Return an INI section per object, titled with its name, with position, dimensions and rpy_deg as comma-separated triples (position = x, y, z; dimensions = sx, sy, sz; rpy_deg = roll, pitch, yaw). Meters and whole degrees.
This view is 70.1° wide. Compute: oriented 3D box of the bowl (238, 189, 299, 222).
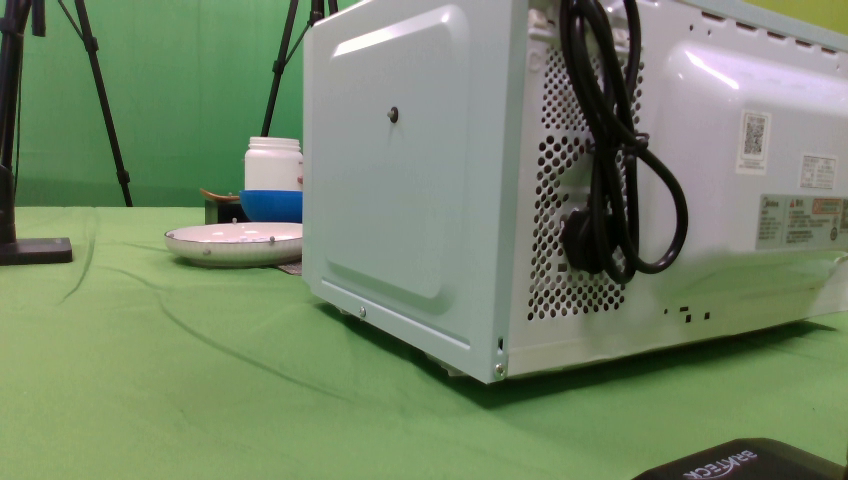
[bowl]
position = -0.245, -0.046, 1.053
dimensions = 0.151, 0.077, 0.151
rpy_deg = 3, 8, 0

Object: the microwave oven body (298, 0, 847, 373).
[microwave oven body]
position = 0.151, -0.055, 0.542
dimensions = 0.444, 0.260, 0.324
rpy_deg = -2, 7, -33

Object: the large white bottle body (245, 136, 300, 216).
[large white bottle body]
position = -0.345, -0.143, 1.394
dimensions = 0.131, 0.184, 0.130
rpy_deg = 2, 7, 0

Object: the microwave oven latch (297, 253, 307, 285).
[microwave oven latch]
position = -0.082, 0.027, 0.582
dimensions = 0.079, 0.029, 0.030
rpy_deg = -1, 7, -32

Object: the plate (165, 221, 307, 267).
[plate]
position = -0.241, 0.004, 0.829
dimensions = 0.209, 0.038, 0.209
rpy_deg = 0, 9, 0

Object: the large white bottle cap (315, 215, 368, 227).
[large white bottle cap]
position = -0.178, -0.041, 1.309
dimensions = 0.115, 0.018, 0.115
rpy_deg = 2, 7, 0

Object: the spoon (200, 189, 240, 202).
[spoon]
position = -0.339, -0.080, 1.190
dimensions = 0.194, 0.021, 0.041
rpy_deg = 5, 2, -19

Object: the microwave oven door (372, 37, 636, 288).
[microwave oven door]
position = 0.109, -0.080, 0.686
dimensions = 0.358, 0.243, 0.039
rpy_deg = -2, 9, -33
